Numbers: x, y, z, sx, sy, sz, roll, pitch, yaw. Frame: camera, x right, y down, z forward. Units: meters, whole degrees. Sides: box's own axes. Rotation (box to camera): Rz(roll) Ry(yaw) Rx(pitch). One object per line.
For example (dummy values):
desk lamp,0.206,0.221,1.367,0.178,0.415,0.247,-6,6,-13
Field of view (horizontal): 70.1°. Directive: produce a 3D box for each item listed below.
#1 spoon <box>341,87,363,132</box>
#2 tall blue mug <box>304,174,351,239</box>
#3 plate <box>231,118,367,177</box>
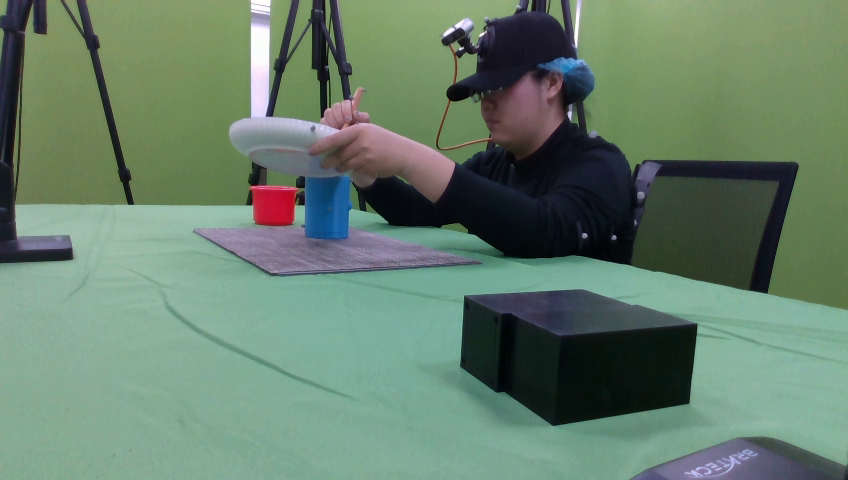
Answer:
spoon,-0.141,-0.207,1.077,0.041,0.022,0.193,1,51,19
tall blue mug,-0.178,-0.062,1.062,0.078,0.108,0.106,-5,10,-38
plate,-0.194,-0.135,0.938,0.208,0.039,0.207,5,-9,1
